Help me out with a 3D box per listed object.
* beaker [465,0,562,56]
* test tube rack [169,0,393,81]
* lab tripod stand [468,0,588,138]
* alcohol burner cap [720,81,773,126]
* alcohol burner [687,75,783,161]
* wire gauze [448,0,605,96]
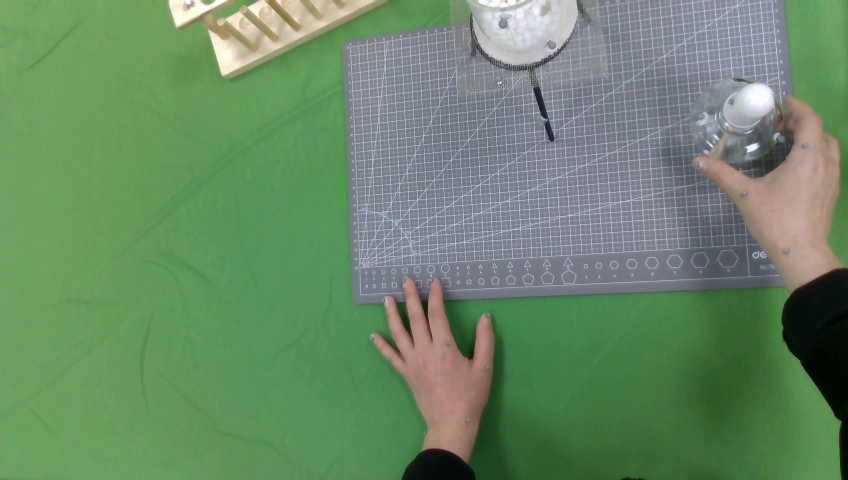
[{"bbox_3d":[0.065,-0.189,0.461,0.083,0.100,0.074,10,89,16],"label":"beaker"},{"bbox_3d":[-0.148,-0.268,0.670,0.242,0.085,0.066,-22,81,13],"label":"test tube rack"},{"bbox_3d":[0.100,-0.180,0.569,0.148,0.132,0.148,-1,87,14],"label":"lab tripod stand"},{"bbox_3d":[0.264,-0.113,0.493,0.034,0.048,0.034,0,89,12],"label":"alcohol burner cap"},{"bbox_3d":[0.274,-0.110,0.527,0.078,0.119,0.078,-1,86,14],"label":"alcohol burner"},{"bbox_3d":[0.083,-0.186,0.506,0.125,0.011,0.121,-5,89,12],"label":"wire gauze"}]
